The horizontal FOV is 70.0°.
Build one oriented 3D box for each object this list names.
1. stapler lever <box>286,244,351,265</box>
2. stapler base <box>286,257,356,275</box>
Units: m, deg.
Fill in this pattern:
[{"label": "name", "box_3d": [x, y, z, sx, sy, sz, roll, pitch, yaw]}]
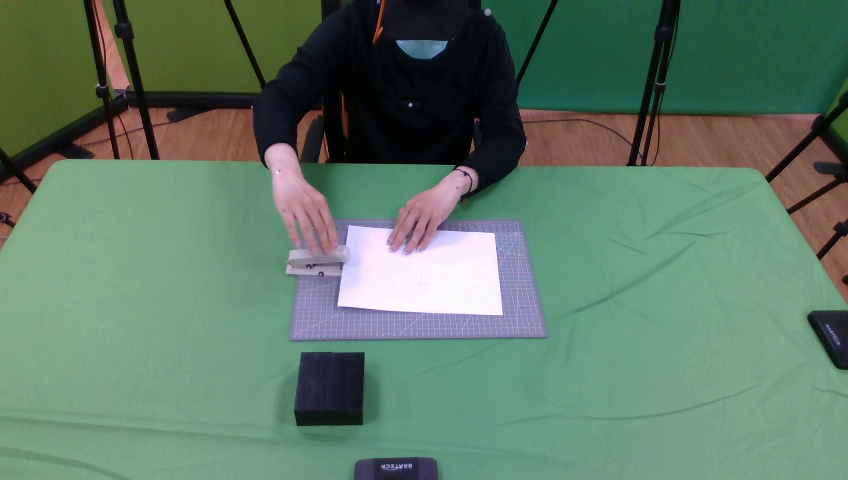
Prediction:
[{"label": "stapler lever", "box_3d": [-0.194, 0.027, 1.116, 0.118, 0.040, 0.026, 1, 45, -2]}, {"label": "stapler base", "box_3d": [-0.193, 0.042, 1.134, 0.130, 0.024, 0.041, 0, 45, -1]}]
